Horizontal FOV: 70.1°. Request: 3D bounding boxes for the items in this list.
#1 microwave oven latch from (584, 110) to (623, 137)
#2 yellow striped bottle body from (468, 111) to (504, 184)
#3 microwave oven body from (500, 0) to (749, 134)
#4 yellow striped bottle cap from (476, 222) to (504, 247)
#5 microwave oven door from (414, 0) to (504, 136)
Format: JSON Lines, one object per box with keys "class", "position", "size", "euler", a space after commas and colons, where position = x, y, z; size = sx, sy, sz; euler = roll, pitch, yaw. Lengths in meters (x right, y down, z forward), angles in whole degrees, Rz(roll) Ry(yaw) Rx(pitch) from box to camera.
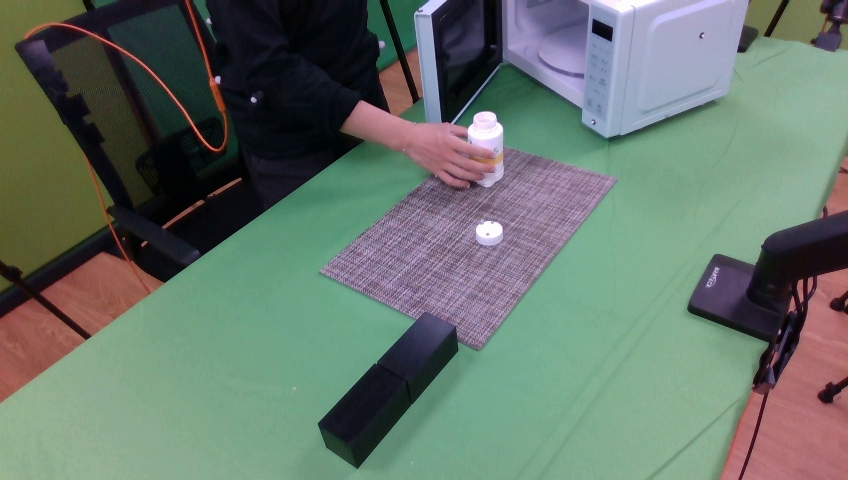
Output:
{"class": "microwave oven latch", "position": [0.337, -0.222, 1.142], "size": [0.030, 0.029, 0.078], "euler": [-21, 42, -15]}
{"class": "yellow striped bottle body", "position": [0.109, -0.164, 1.064], "size": [0.063, 0.121, 0.062], "euler": [-4, 41, 4]}
{"class": "microwave oven body", "position": [0.381, -0.444, 1.246], "size": [0.327, 0.261, 0.437], "euler": [-22, 42, -16]}
{"class": "yellow striped bottle cap", "position": [0.105, -0.010, 0.966], "size": [0.044, 0.019, 0.044], "euler": [-4, 39, 4]}
{"class": "microwave oven door", "position": [0.084, -0.408, 1.238], "size": [0.039, 0.245, 0.356], "euler": [13, 45, 23]}
